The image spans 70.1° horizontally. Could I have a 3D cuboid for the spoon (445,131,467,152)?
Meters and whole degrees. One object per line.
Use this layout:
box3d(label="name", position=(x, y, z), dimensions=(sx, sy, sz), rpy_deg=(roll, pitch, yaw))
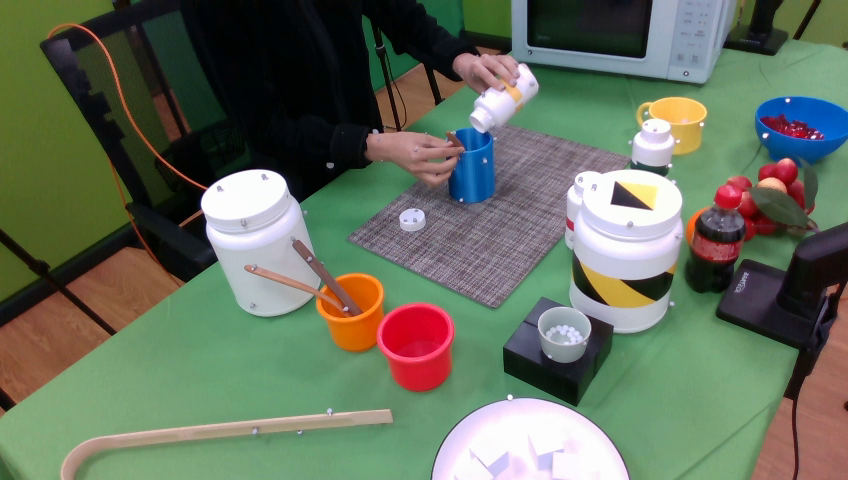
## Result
box3d(label="spoon", position=(0.064, -0.144, 0.999), dimensions=(0.041, 0.195, 0.021), rpy_deg=(12, 80, 21))

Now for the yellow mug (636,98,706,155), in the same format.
box3d(label="yellow mug", position=(0.453, -0.217, 1.128), dimensions=(0.100, 0.064, 0.129), rpy_deg=(-34, 46, -27))

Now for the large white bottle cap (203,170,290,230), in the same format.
box3d(label="large white bottle cap", position=(-0.241, -0.057, 0.822), dimensions=(0.115, 0.018, 0.114), rpy_deg=(-4, 40, 4))

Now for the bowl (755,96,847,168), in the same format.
box3d(label="bowl", position=(0.645, -0.177, 1.041), dimensions=(0.151, 0.077, 0.150), rpy_deg=(-5, 40, 4))

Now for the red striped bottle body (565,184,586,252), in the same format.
box3d(label="red striped bottle body", position=(0.247, -0.041, 0.910), dimensions=(0.063, 0.120, 0.062), rpy_deg=(-3, 39, 3))

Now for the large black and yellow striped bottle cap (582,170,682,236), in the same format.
box3d(label="large black and yellow striped bottle cap", position=(0.252, -0.048, 0.735), dimensions=(0.115, 0.019, 0.114), rpy_deg=(-3, 40, 3))

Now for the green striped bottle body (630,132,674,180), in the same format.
box3d(label="green striped bottle body", position=(0.376, -0.135, 1.001), dimensions=(0.063, 0.120, 0.063), rpy_deg=(-5, 41, 5))

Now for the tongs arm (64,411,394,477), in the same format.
box3d(label="tongs arm", position=(-0.228, 0.241, 0.715), dimensions=(0.385, 0.026, 0.050), rpy_deg=(-5, 43, 4))

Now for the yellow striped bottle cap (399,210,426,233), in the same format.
box3d(label="yellow striped bottle cap", position=(-0.019, -0.032, 1.017), dimensions=(0.044, 0.019, 0.044), rpy_deg=(-4, 39, 4))

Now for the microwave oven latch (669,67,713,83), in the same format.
box3d(label="microwave oven latch", position=(0.556, -0.349, 1.261), dimensions=(0.078, 0.029, 0.030), rpy_deg=(16, 46, 27))

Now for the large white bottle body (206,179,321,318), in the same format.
box3d(label="large white bottle body", position=(-0.233, 0.007, 0.876), dimensions=(0.130, 0.185, 0.130), rpy_deg=(-5, 40, 4))

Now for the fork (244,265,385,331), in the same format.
box3d(label="fork", position=(-0.142, 0.078, 0.806), dimensions=(0.209, 0.018, 0.028), rpy_deg=(30, 32, -23))

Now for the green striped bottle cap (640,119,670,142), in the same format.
box3d(label="green striped bottle cap", position=(0.370, -0.174, 0.968), dimensions=(0.044, 0.020, 0.044), rpy_deg=(-3, 41, 3))

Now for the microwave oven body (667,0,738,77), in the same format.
box3d(label="microwave oven body", position=(0.462, -0.552, 1.369), dimensions=(0.439, 0.261, 0.326), rpy_deg=(15, 45, 26))

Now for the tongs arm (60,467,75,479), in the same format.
box3d(label="tongs arm", position=(-0.239, 0.301, 0.648), dimensions=(0.386, 0.028, 0.028), rpy_deg=(6, 49, 16))

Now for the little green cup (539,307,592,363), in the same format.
box3d(label="little green cup", position=(0.167, 0.114, 0.721), dimensions=(0.061, 0.039, 0.061), rpy_deg=(-4, 43, 4))

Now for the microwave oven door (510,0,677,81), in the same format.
box3d(label="microwave oven door", position=(0.354, -0.478, 1.290), dimensions=(0.353, 0.245, 0.039), rpy_deg=(15, 45, 25))

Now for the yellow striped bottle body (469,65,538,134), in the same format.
box3d(label="yellow striped bottle body", position=(0.130, -0.233, 1.019), dimensions=(0.120, 0.063, 0.062), rpy_deg=(-44, 49, -9))

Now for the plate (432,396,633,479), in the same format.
box3d(label="plate", position=(0.112, 0.261, 0.634), dimensions=(0.209, 0.038, 0.208), rpy_deg=(-5, 40, 4))

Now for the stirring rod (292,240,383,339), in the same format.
box3d(label="stirring rod", position=(-0.118, 0.068, 0.826), dimensions=(0.176, 0.006, 0.014), rpy_deg=(49, 59, -4))

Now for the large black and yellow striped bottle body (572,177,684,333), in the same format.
box3d(label="large black and yellow striped bottle body", position=(0.262, 0.017, 0.788), dimensions=(0.131, 0.185, 0.130), rpy_deg=(-5, 40, 4))

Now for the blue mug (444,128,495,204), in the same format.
box3d(label="blue mug", position=(0.080, -0.139, 1.058), dimensions=(0.082, 0.106, 0.116), rpy_deg=(-5, 41, 4))

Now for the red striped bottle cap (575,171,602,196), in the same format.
box3d(label="red striped bottle cap", position=(0.242, -0.081, 0.876), dimensions=(0.044, 0.018, 0.044), rpy_deg=(-5, 44, 5))
